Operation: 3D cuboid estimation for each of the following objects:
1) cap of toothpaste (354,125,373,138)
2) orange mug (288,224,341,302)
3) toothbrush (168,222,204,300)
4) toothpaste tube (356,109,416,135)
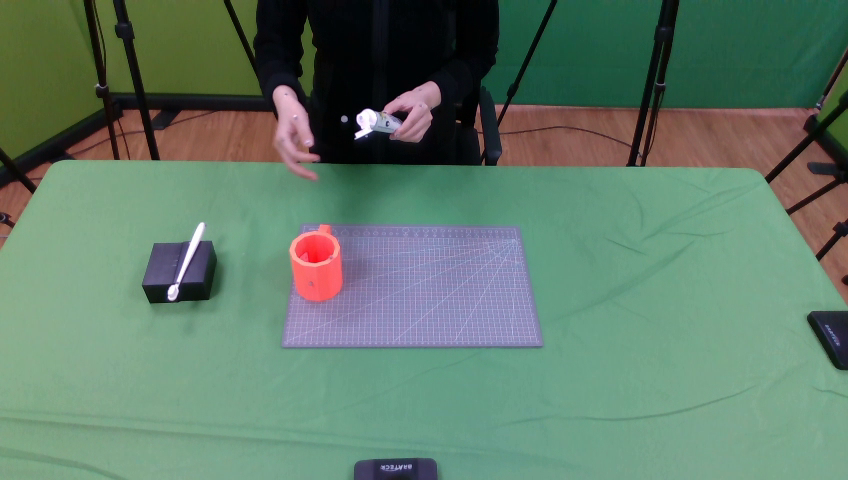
[{"bbox_3d":[-0.102,-0.182,1.012,0.037,0.011,0.037,-26,14,7],"label":"cap of toothpaste"},{"bbox_3d":[-0.192,0.034,1.094,0.083,0.101,0.125,7,50,2],"label":"orange mug"},{"bbox_3d":[-0.419,0.032,1.070,0.014,0.017,0.180,2,46,2],"label":"toothbrush"},{"bbox_3d":[-0.069,-0.211,1.092,0.055,0.034,0.165,50,24,13],"label":"toothpaste tube"}]
